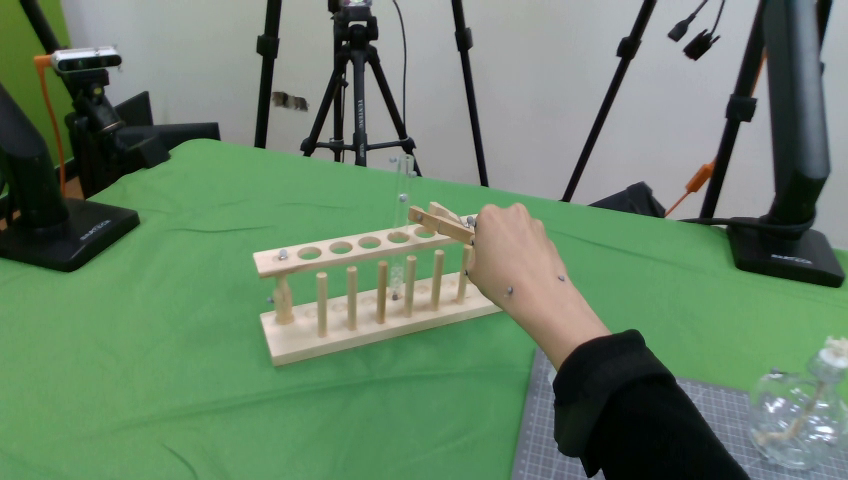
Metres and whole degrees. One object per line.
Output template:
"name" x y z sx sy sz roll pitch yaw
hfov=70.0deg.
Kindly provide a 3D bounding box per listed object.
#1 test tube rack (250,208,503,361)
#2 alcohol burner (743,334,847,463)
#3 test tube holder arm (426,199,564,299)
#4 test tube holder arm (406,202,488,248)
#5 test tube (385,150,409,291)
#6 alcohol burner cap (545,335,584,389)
"test tube rack" -0.039 0.039 0.600 0.243 0.086 0.066 -11 35 -21
"alcohol burner" 0.300 0.118 0.477 0.078 0.120 0.077 3 35 -2
"test tube holder arm" 0.054 0.002 0.520 0.013 0.015 0.176 -10 30 -35
"test tube holder arm" 0.021 -0.014 0.544 0.087 0.015 0.010 23 27 28
"test tube" -0.027 -0.015 0.593 0.017 0.151 0.017 4 27 -2
"alcohol burner cap" 0.128 0.107 0.545 0.034 0.048 0.033 3 34 -2
